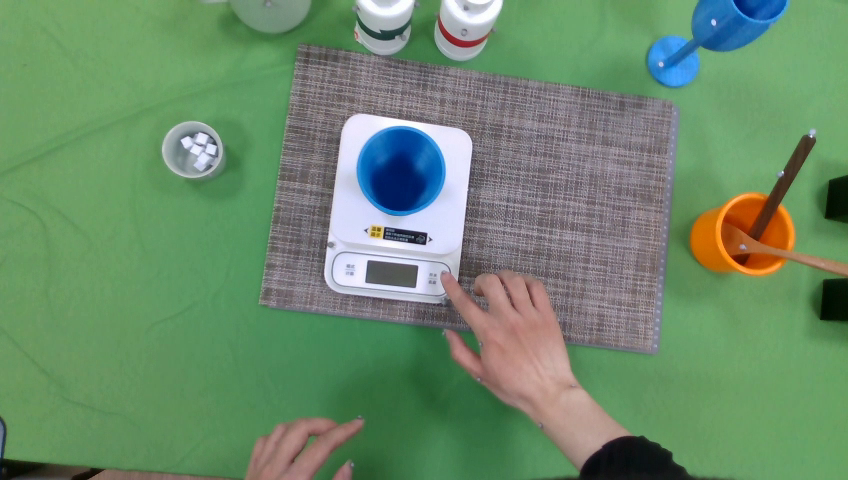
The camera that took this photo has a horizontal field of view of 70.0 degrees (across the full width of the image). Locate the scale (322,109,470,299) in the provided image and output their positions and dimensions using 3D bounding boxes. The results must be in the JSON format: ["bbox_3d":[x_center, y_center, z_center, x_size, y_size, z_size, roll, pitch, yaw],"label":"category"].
[{"bbox_3d":[-0.030,-0.039,0.673,0.149,0.031,0.200,6,85,-5],"label":"scale"}]

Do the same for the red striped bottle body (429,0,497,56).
[{"bbox_3d":[0.042,-0.252,0.656,0.063,0.120,0.063,1,84,-5],"label":"red striped bottle body"}]

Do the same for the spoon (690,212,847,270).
[{"bbox_3d":[0.386,0.008,0.655,0.022,0.192,0.041,21,91,-47],"label":"spoon"}]

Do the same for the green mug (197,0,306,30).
[{"bbox_3d":[-0.191,-0.280,0.643,0.125,0.105,0.092,-15,87,-6],"label":"green mug"}]

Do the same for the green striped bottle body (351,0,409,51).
[{"bbox_3d":[-0.047,-0.255,0.648,0.063,0.119,0.063,1,84,-5],"label":"green striped bottle body"}]

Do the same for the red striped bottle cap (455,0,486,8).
[{"bbox_3d":[0.047,-0.257,0.604,0.044,0.018,0.044,1,84,-9],"label":"red striped bottle cap"}]

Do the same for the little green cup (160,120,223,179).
[{"bbox_3d":[-0.248,-0.096,0.656,0.061,0.038,0.061,1,85,-7],"label":"little green cup"}]

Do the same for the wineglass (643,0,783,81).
[{"bbox_3d":[0.304,-0.233,0.653,0.074,0.172,0.073,0,85,-5],"label":"wineglass"}]

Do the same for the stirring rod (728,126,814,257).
[{"bbox_3d":[0.373,-0.046,0.658,0.014,0.177,0.006,14,43,9],"label":"stirring rod"}]

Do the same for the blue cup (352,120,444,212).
[{"bbox_3d":[-0.028,-0.066,0.610,0.093,0.100,0.092,0,87,-5],"label":"blue cup"}]
